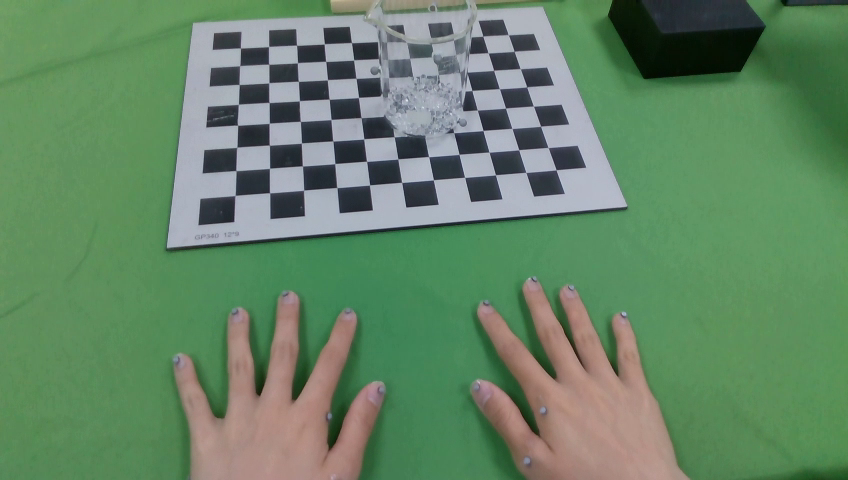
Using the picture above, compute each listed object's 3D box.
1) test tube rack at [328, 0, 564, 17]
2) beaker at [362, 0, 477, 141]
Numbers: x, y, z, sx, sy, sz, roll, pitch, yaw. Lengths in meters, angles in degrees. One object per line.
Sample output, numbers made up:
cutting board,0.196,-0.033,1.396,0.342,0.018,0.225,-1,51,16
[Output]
test tube rack,0.023,-0.284,0.597,0.243,0.086,0.066,-7,55,-8
beaker,-0.004,-0.135,0.476,0.084,0.101,0.073,-5,54,-6
